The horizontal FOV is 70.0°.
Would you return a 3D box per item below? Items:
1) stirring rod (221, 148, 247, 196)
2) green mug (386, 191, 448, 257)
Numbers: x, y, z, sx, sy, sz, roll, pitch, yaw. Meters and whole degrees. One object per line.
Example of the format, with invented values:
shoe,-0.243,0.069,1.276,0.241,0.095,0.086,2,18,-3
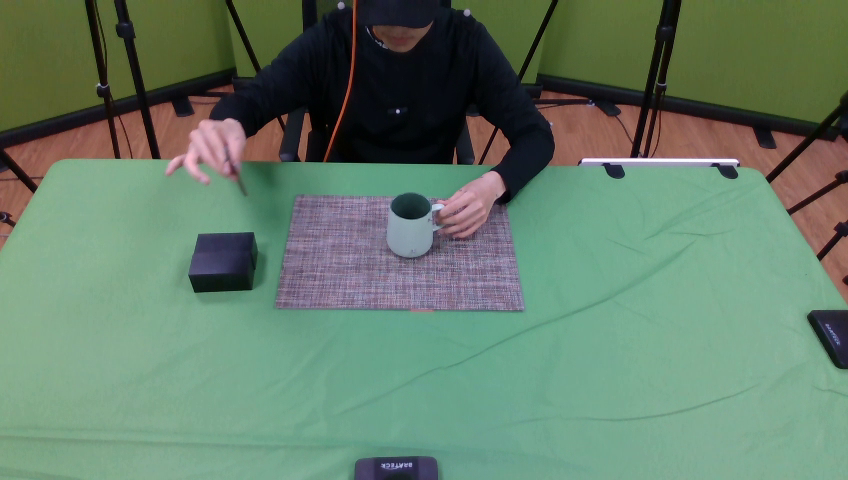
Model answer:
stirring rod,-0.307,-0.107,0.984,0.014,0.176,0.006,39,72,6
green mug,-0.012,-0.034,1.165,0.125,0.105,0.092,-17,49,-19
